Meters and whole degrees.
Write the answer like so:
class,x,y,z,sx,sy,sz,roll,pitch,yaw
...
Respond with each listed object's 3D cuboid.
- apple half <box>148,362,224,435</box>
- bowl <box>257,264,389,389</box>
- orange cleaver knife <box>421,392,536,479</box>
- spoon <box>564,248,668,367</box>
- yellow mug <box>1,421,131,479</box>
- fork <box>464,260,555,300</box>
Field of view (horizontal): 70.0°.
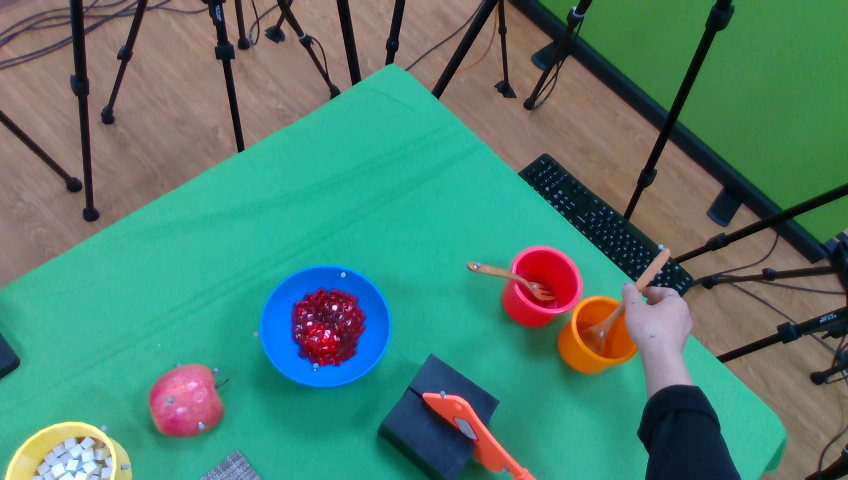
class,x,y,z,sx,sy,sz,roll,pitch,yaw
apple half,-0.269,0.175,0.679,0.075,0.053,0.080,-15,66,-17
bowl,-0.121,0.113,0.730,0.152,0.077,0.150,5,62,-10
orange cleaver knife,0.078,0.247,0.699,0.212,0.077,0.012,47,54,-10
spoon,0.251,0.088,0.784,0.041,0.022,0.194,40,106,12
yellow mug,-0.366,0.253,0.608,0.100,0.064,0.130,25,60,2
fork,0.114,0.051,0.775,0.209,0.018,0.028,23,46,-50
